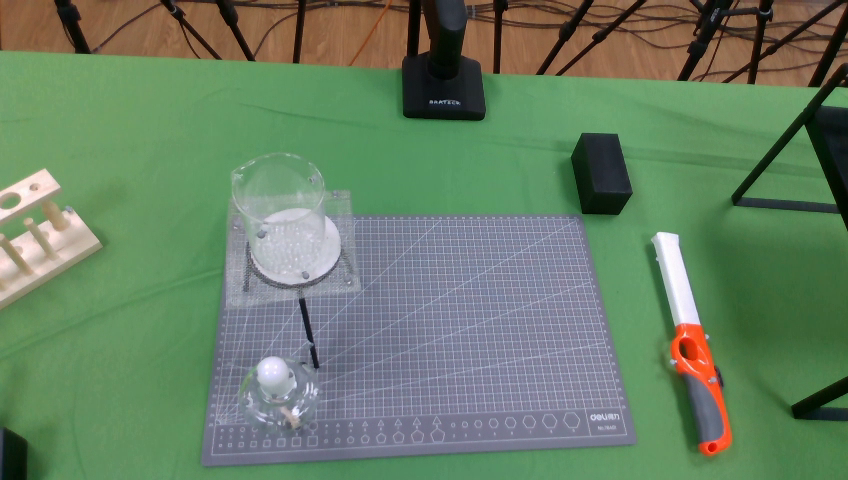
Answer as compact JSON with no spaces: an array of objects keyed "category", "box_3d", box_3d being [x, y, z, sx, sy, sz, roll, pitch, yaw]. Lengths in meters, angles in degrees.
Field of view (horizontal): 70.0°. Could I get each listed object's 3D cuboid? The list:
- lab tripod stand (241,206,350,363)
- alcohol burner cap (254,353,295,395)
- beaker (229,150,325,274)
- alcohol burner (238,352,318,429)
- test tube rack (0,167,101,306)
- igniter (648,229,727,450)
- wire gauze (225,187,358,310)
[{"category":"lab tripod stand","box_3d":[-0.132,0.040,0.638,0.148,0.132,0.147,4,59,-6]},{"category":"alcohol burner cap","box_3d":[-0.139,0.122,0.557,0.034,0.048,0.033,1,63,-1]},{"category":"beaker","box_3d":[-0.129,-0.021,0.542,0.084,0.101,0.073,22,59,6]},{"category":"alcohol burner","box_3d":[-0.143,0.140,0.588,0.078,0.120,0.077,4,57,-6]},{"category":"test tube rack","box_3d":[-0.483,0.030,0.635,0.242,0.086,0.066,-38,69,-25]},{"category":"igniter","box_3d":[0.307,0.106,0.714,0.057,0.025,0.274,8,57,-14]},{"category":"wire gauze","box_3d":[-0.129,0.002,0.585,0.122,0.011,0.124,-6,63,-8]}]
